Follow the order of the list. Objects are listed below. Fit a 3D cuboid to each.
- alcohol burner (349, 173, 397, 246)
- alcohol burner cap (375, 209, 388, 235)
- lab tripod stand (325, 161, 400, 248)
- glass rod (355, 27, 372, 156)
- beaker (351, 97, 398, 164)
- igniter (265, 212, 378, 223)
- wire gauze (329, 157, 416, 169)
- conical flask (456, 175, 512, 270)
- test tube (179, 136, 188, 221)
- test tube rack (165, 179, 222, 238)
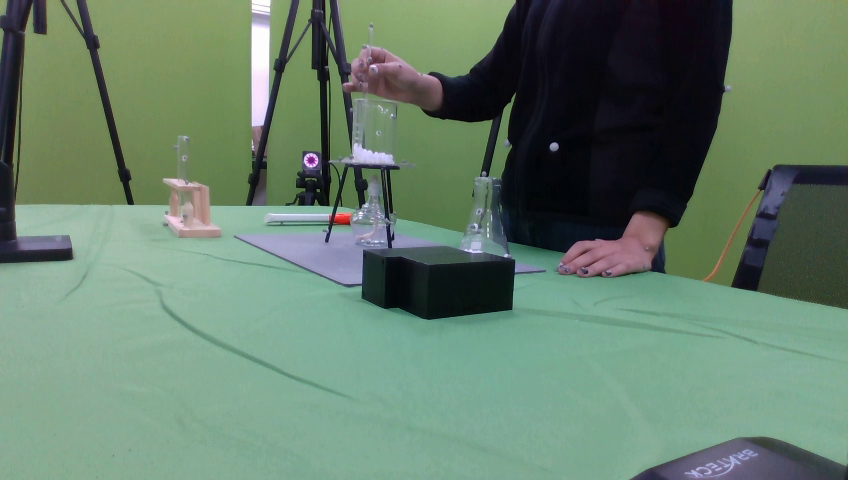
[{"bbox_3d":[-0.081,-0.050,0.982,0.078,0.119,0.078,4,8,0],"label":"alcohol burner"},{"bbox_3d":[-0.076,-0.035,1.144,0.034,0.048,0.034,1,7,0],"label":"alcohol burner cap"},{"bbox_3d":[-0.083,-0.059,0.977,0.148,0.131,0.148,4,8,0],"label":"lab tripod stand"},{"bbox_3d":[-0.094,-0.229,0.936,0.008,0.199,0.008,7,3,0],"label":"glass rod"},{"bbox_3d":[-0.078,-0.171,0.962,0.074,0.100,0.084,6,7,19],"label":"beaker"},{"bbox_3d":[-0.195,-0.048,1.285,0.278,0.025,0.057,-2,-2,-30],"label":"igniter"},{"bbox_3d":[-0.079,-0.125,0.972,0.121,0.011,0.125,6,6,5],"label":"wire gauze"},{"bbox_3d":[0.082,-0.025,0.801,0.075,0.122,0.075,2,7,0],"label":"conical flask"},{"bbox_3d":[-0.425,-0.108,1.070,0.017,0.150,0.017,4,9,0],"label":"test tube"},{"bbox_3d":[-0.423,-0.062,1.098,0.067,0.085,0.241,-2,8,-28],"label":"test tube rack"}]
